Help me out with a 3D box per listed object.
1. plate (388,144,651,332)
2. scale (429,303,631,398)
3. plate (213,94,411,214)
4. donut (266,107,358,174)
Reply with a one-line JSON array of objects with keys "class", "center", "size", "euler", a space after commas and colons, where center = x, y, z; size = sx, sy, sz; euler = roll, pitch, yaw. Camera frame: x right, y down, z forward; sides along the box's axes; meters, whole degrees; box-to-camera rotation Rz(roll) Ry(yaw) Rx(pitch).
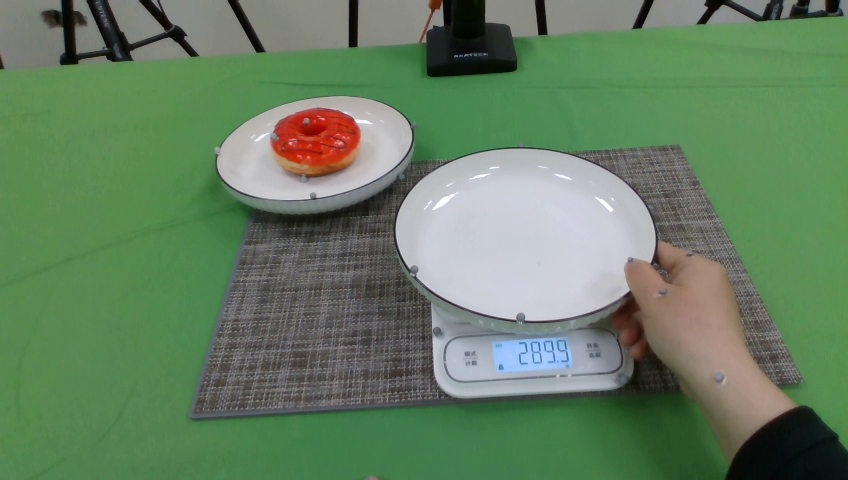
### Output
[{"class": "plate", "center": [0.075, -0.004, 0.498], "size": [0.207, 0.039, 0.205], "euler": [-2, 44, 2]}, {"class": "scale", "center": [0.078, 0.036, 0.504], "size": [0.148, 0.032, 0.199], "euler": [-4, 44, 2]}, {"class": "plate", "center": [-0.116, -0.091, 0.650], "size": [0.209, 0.038, 0.207], "euler": [-3, 42, 3]}, {"class": "donut", "center": [-0.120, -0.107, 0.651], "size": [0.099, 0.049, 0.098], "euler": [-2, 42, 2]}]
